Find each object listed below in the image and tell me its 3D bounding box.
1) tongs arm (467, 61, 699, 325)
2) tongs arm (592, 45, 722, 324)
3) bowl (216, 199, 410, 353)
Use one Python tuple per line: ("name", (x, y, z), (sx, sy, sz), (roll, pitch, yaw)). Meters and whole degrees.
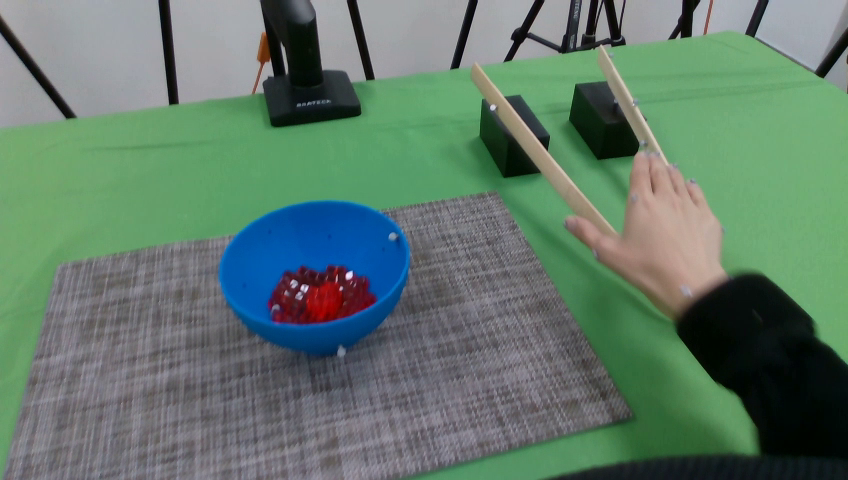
("tongs arm", (0.140, -0.067, 0.624), (0.028, 0.028, 0.383), (-16, 55, -22))
("tongs arm", (0.226, -0.083, 0.643), (0.051, 0.027, 0.380), (-5, 53, -10))
("bowl", (-0.088, 0.041, 0.506), (0.151, 0.077, 0.150), (0, 41, 0))
